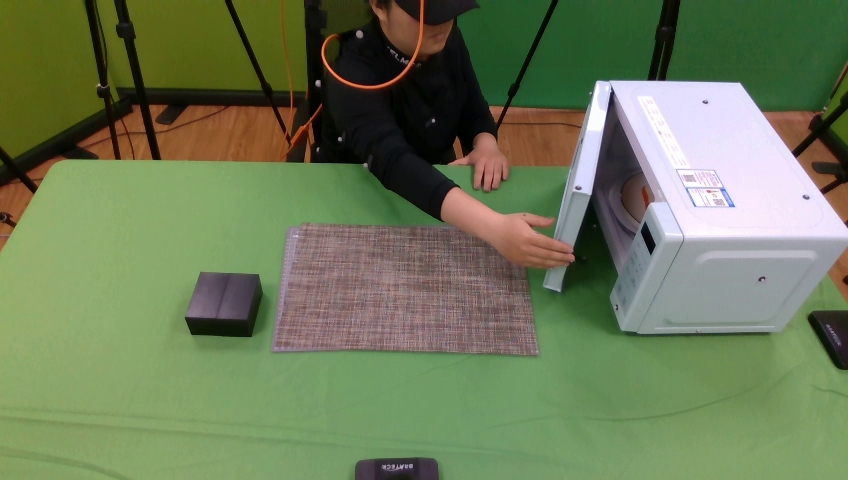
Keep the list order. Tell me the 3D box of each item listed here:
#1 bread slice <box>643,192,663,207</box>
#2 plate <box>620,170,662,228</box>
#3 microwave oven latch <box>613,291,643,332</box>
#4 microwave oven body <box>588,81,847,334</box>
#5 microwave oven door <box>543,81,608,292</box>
[{"bbox_3d":[0.493,-0.054,1.198,0.105,0.019,0.131,5,38,4],"label":"bread slice"},{"bbox_3d":[0.489,-0.059,1.194,0.209,0.038,0.208,3,46,-3],"label":"plate"},{"bbox_3d":[0.357,0.124,1.068,0.030,0.029,0.078,1,45,-2],"label":"microwave oven latch"},{"bbox_3d":[0.501,-0.070,1.132,0.326,0.261,0.438,-1,45,-3],"label":"microwave oven body"},{"bbox_3d":[0.294,-0.111,1.150,0.039,0.245,0.354,15,47,10],"label":"microwave oven door"}]
